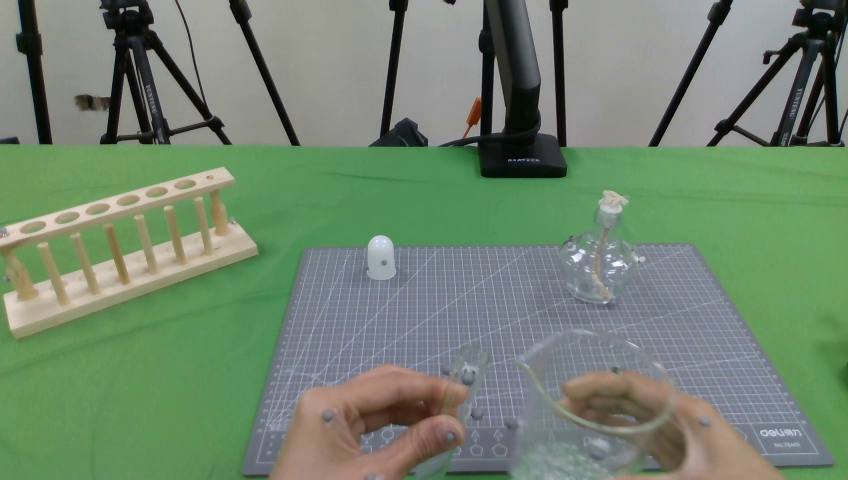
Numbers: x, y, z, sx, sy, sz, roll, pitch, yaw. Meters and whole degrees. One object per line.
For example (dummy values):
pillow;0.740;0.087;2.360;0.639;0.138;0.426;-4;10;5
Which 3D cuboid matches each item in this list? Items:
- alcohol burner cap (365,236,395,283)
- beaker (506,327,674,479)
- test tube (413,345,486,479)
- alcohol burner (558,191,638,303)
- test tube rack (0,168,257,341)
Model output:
alcohol burner cap;-0.048;0.018;0.645;0.034;0.048;0.033;0;34;1
beaker;0.085;0.110;0.343;0.083;0.101;0.073;13;33;13
test tube;0.007;0.116;0.324;0.017;0.151;0.017;11;31;-6
alcohol burner;0.176;0.003;0.601;0.078;0.120;0.077;1;35;-1
test tube rack;-0.307;0.007;0.628;0.243;0.086;0.066;-22;40;-28
